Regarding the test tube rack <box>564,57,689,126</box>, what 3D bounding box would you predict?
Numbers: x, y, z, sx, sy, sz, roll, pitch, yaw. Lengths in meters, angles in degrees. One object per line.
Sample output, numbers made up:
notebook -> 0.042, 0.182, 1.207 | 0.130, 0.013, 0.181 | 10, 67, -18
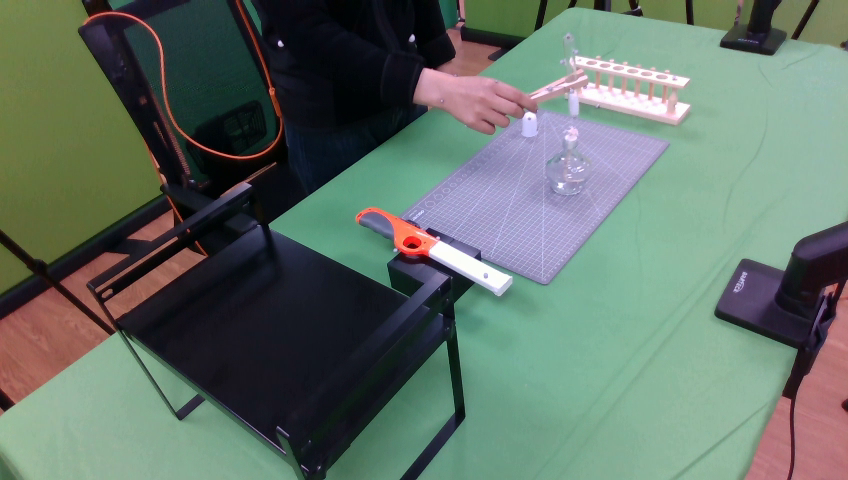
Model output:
test tube rack -> 0.411, -0.311, 1.231 | 0.240, 0.085, 0.067 | 24, 49, 32

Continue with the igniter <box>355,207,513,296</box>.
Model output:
igniter -> 0.006, 0.010, 0.885 | 0.274, 0.025, 0.057 | 27, 53, 30

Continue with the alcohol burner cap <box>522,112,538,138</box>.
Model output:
alcohol burner cap -> 0.210, -0.230, 1.195 | 0.034, 0.048, 0.033 | -5, 40, 5

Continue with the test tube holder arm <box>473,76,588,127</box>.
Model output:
test tube holder arm -> 0.160, -0.209, 0.913 | 0.178, 0.015, 0.013 | -21, 48, 7

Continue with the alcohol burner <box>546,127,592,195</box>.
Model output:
alcohol burner -> 0.246, -0.137, 1.024 | 0.078, 0.119, 0.077 | -4, 38, 4

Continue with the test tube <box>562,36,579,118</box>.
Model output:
test tube -> 0.220, -0.239, 0.903 | 0.017, 0.151, 0.017 | -9, 54, 13

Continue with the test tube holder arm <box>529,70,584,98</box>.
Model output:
test tube holder arm -> 0.200, -0.230, 0.912 | 0.088, 0.015, 0.010 | -25, 48, 2
